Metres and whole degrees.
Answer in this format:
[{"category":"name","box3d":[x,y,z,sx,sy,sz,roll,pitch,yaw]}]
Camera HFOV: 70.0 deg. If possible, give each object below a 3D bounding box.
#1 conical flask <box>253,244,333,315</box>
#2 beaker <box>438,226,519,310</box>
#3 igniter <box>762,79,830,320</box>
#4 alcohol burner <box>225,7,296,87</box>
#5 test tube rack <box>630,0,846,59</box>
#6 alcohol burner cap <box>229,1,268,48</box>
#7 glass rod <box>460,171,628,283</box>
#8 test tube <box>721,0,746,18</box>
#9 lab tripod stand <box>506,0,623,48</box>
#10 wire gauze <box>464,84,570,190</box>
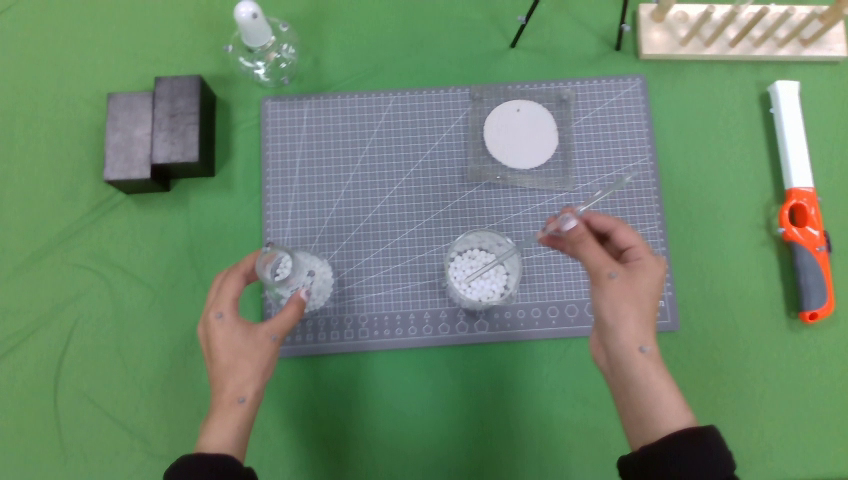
[{"category":"conical flask","box3d":[-0.136,0.034,0.606,0.075,0.122,0.075,0,79,0]},{"category":"beaker","box3d":[0.055,0.035,0.619,0.074,0.100,0.083,-39,82,-7]},{"category":"igniter","box3d":[0.415,-0.049,0.678,0.057,0.025,0.275,0,79,-10]},{"category":"alcohol burner","box3d":[-0.183,-0.217,0.661,0.078,0.119,0.077,0,80,1]},{"category":"test tube rack","box3d":[0.370,-0.257,0.688,0.242,0.085,0.066,0,78,0]},{"category":"alcohol burner cap","box3d":[-0.183,-0.226,0.627,0.034,0.048,0.033,0,72,-1]},{"category":"glass rod","box3d":[0.095,-0.006,0.529,0.008,0.200,0.008,23,49,-30]},{"category":"test tube","box3d":[0.353,-0.281,0.642,0.017,0.151,0.017,0,78,3]},{"category":"lab tripod stand","box3d":[0.163,-0.277,0.666,0.148,0.132,0.148,0,81,0]},{"category":"wire gauze","box3d":[0.108,-0.121,0.696,0.125,0.011,0.121,5,79,-2]}]
